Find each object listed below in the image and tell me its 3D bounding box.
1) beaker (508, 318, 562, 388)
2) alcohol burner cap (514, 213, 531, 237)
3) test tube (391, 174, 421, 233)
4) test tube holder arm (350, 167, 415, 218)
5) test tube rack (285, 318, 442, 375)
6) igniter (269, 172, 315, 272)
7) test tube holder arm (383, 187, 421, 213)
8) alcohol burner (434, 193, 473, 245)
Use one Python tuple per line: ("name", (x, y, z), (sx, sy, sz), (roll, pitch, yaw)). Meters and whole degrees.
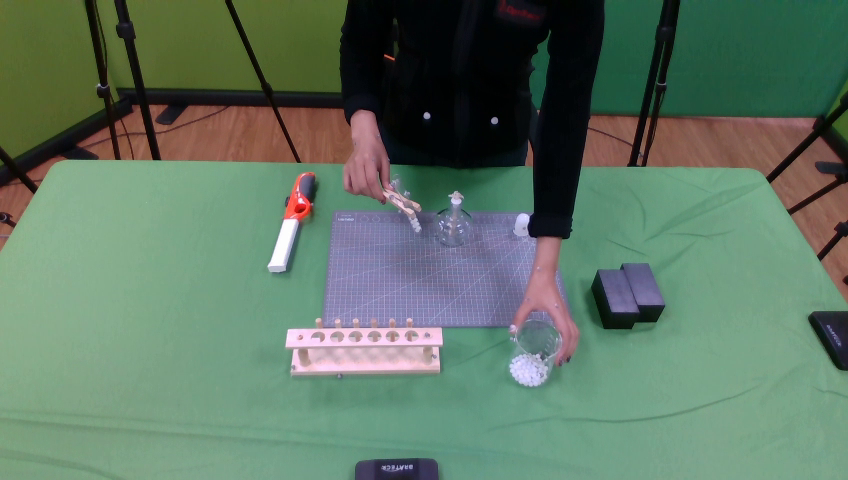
("beaker", (0.177, 0.187, 0.977), (0.074, 0.101, 0.083), (1, 47, -2))
("alcohol burner cap", (0.200, -0.034, 1.227), (0.034, 0.048, 0.033), (1, 46, -1))
("test tube", (-0.029, -0.059, 1.039), (0.017, 0.151, 0.017), (-8, 52, 11))
("test tube holder arm", (-0.077, -0.087, 1.078), (0.013, 0.015, 0.177), (-42, 54, -18))
("test tube rack", (-0.095, 0.168, 0.986), (0.242, 0.085, 0.066), (0, 46, -4))
("igniter", (-0.263, -0.045, 1.219), (0.057, 0.025, 0.275), (-2, 45, 8))
("test tube holder arm", (-0.041, -0.071, 1.055), (0.087, 0.015, 0.010), (27, 65, 31))
("alcohol burner", (0.059, -0.046, 1.180), (0.078, 0.120, 0.077), (1, 48, -1))
